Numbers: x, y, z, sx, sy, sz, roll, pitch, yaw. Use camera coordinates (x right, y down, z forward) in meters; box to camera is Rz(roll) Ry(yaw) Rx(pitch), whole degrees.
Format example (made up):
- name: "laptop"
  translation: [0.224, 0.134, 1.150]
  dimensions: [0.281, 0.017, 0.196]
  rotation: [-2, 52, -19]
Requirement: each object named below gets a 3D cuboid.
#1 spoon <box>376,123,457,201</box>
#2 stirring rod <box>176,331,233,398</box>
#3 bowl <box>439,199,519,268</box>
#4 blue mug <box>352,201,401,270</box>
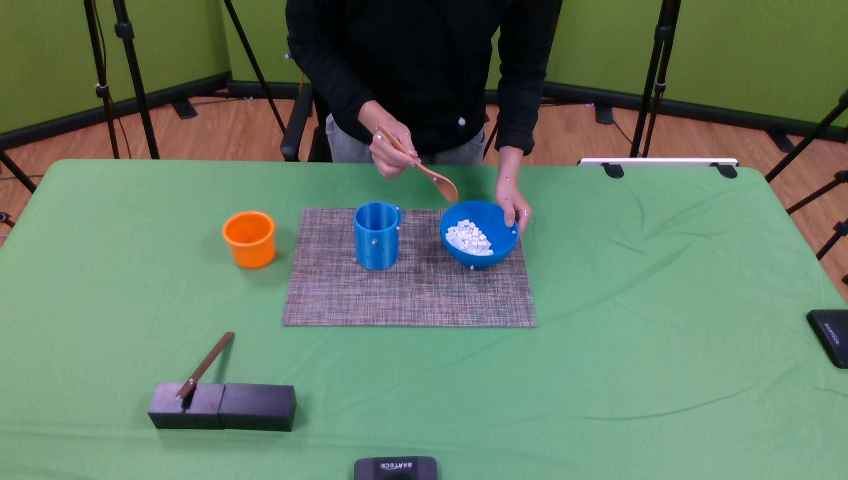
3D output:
- name: "spoon"
  translation: [-0.012, -0.138, 1.072]
  dimensions: [0.194, 0.041, 0.021]
  rotation: [40, 63, -16]
- name: "stirring rod"
  translation: [-0.342, 0.191, 0.955]
  dimensions: [0.014, 0.006, 0.175]
  rotation: [4, 24, 6]
- name: "bowl"
  translation: [0.100, 0.001, 1.160]
  dimensions: [0.151, 0.077, 0.150]
  rotation: [2, 46, -2]
- name: "blue mug"
  translation: [-0.082, -0.017, 1.144]
  dimensions: [0.082, 0.106, 0.116]
  rotation: [30, 51, 22]
